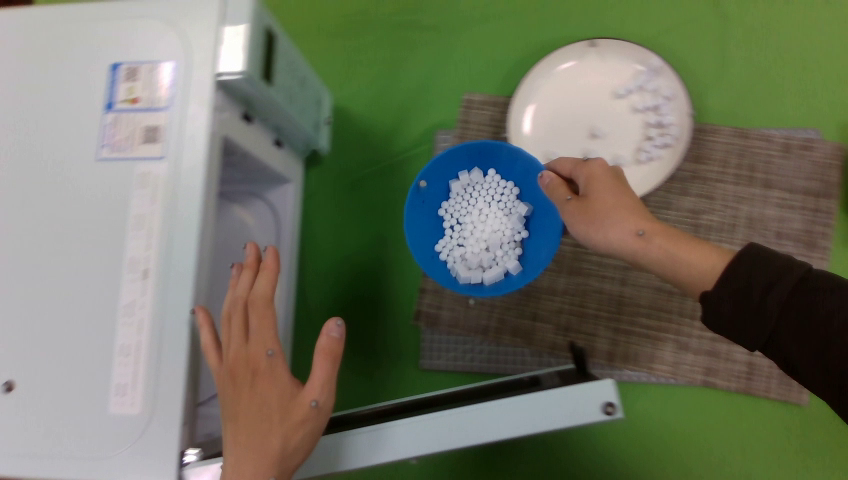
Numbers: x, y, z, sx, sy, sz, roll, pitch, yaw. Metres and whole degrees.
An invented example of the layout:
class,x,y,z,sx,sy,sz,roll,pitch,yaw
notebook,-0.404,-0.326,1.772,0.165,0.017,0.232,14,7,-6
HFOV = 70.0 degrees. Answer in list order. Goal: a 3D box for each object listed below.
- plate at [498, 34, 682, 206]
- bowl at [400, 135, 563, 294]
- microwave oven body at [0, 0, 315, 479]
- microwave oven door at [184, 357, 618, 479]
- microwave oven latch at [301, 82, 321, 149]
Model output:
class,x,y,z,sx,sy,sz,roll,pitch,yaw
plate,0.193,-0.139,0.718,0.209,0.038,0.208,-1,81,9
bowl,0.056,-0.019,0.596,0.151,0.077,0.151,-1,82,7
microwave oven body,-0.310,0.007,0.664,0.325,0.261,0.440,-1,83,8
microwave oven door,-0.007,0.173,0.588,0.355,0.245,0.039,-14,79,7
microwave oven latch,-0.145,-0.155,0.759,0.030,0.029,0.079,1,83,9
